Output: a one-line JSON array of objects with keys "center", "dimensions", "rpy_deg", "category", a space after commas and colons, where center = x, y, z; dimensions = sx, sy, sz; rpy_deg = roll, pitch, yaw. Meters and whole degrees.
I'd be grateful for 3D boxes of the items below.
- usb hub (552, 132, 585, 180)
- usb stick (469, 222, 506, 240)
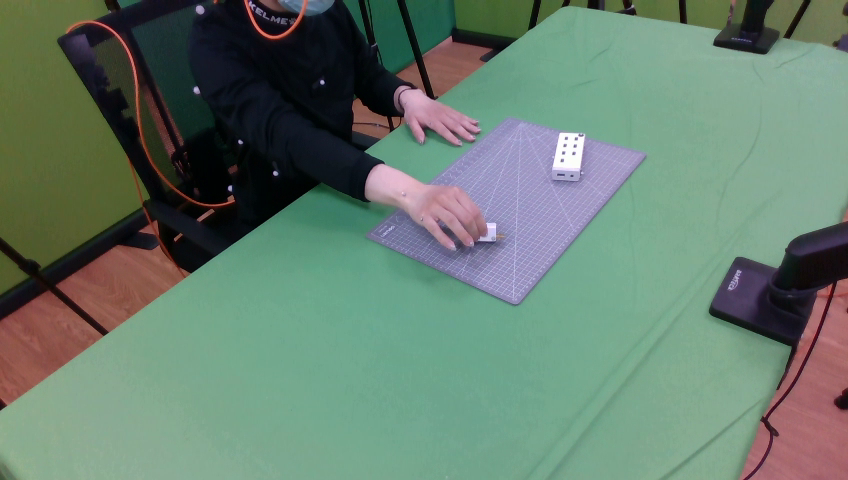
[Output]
[{"center": [0.265, -0.154, 1.103], "dimensions": [0.049, 0.025, 0.125], "rpy_deg": [6, 43, 15], "category": "usb hub"}, {"center": [0.100, -0.014, 0.953], "dimensions": [0.059, 0.027, 0.021], "rpy_deg": [4, 16, 1], "category": "usb stick"}]
